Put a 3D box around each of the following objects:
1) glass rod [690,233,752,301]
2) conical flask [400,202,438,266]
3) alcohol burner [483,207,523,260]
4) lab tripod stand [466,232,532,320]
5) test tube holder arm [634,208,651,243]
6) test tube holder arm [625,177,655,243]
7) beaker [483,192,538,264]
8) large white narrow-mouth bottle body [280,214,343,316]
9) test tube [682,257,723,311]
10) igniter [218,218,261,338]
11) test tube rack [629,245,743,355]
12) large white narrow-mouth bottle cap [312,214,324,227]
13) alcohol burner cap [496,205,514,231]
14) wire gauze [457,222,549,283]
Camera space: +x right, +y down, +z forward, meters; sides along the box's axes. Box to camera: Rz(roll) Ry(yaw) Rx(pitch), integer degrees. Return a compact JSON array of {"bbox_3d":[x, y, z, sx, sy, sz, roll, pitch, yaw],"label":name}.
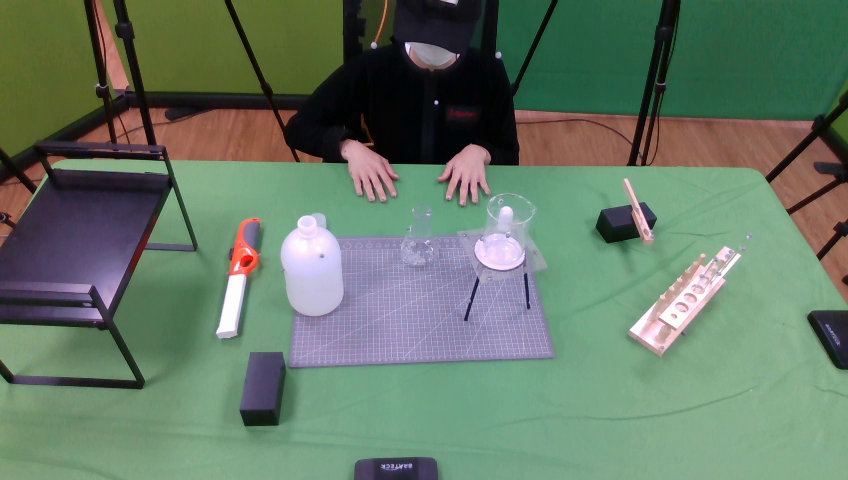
[{"bbox_3d":[0.507,0.053,1.041,0.008,0.200,0.008,5,51,-6],"label":"glass rod"},{"bbox_3d":[-0.007,-0.014,1.135,0.075,0.122,0.075,2,46,-2],"label":"conical flask"},{"bbox_3d":[0.152,-0.018,1.156,0.078,0.120,0.077,0,47,0],"label":"alcohol burner"},{"bbox_3d":[0.125,0.059,1.065,0.148,0.132,0.147,1,45,0],"label":"lab tripod stand"},{"bbox_3d":[0.428,-0.030,1.189,0.010,0.015,0.087,2,47,-2],"label":"test tube holder arm"},{"bbox_3d":[0.433,-0.063,1.220,0.013,0.015,0.177,1,47,-3],"label":"test tube holder arm"},{"bbox_3d":[0.136,-0.017,0.980,0.084,0.101,0.073,-6,45,-9],"label":"beaker"},{"bbox_3d":[-0.190,0.035,1.025,0.102,0.195,0.101,2,46,-2],"label":"large white narrow-mouth bottle body"},{"bbox_3d":[0.474,0.080,1.037,0.017,0.151,0.017,1,50,-1],"label":"test tube"},{"bbox_3d":[-0.336,0.060,1.111,0.057,0.025,0.274,-8,46,4],"label":"igniter"},{"bbox_3d":[0.474,0.095,1.091,0.242,0.085,0.066,-34,56,-31],"label":"test tube rack"},{"bbox_3d":[-0.219,-0.033,1.214,0.038,0.024,0.037,2,46,-2],"label":"large white narrow-mouth bottle cap"},{"bbox_3d":[0.153,-0.044,1.131,0.034,0.048,0.033,2,40,-1],"label":"alcohol burner cap"},{"bbox_3d":[0.131,0.016,1.017,0.121,0.011,0.124,-10,44,-15],"label":"wire gauze"}]
